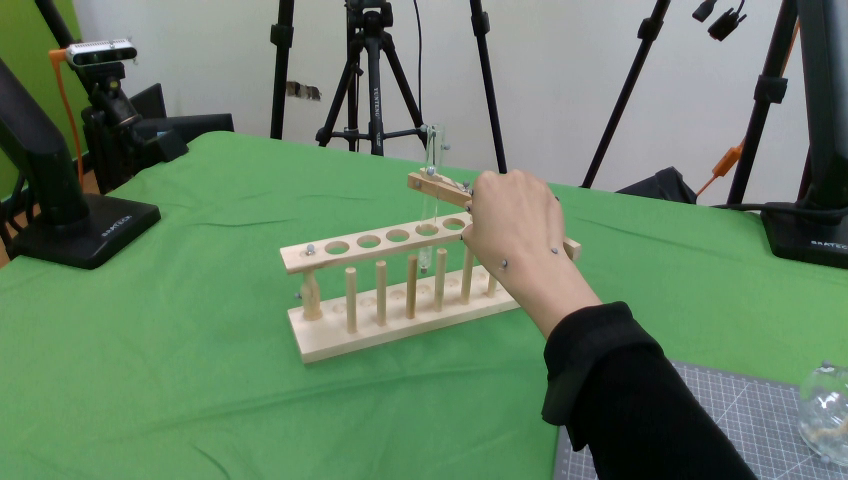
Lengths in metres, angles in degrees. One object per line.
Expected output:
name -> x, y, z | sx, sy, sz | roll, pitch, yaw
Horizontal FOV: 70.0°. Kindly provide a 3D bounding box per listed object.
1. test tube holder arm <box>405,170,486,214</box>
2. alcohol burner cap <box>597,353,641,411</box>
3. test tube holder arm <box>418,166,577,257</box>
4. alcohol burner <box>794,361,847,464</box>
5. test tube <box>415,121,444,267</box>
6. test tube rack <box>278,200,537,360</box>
test tube holder arm -> 0.019, -0.043, 0.534 | 0.087, 0.015, 0.010 | 23, 37, 31
alcohol burner cap -> 0.165, 0.115, 0.504 | 0.034, 0.048, 0.033 | 2, 35, -1
test tube holder arm -> 0.055, -0.028, 0.512 | 0.013, 0.015, 0.176 | -25, 40, -36
alcohol burner -> 0.329, 0.111, 0.453 | 0.078, 0.120, 0.077 | 2, 36, -1
test tube -> 0.004, -0.038, 0.561 | 0.017, 0.151, 0.017 | 4, 33, -2
test tube rack -> -0.008, 0.033, 0.582 | 0.243, 0.086, 0.066 | -12, 36, -19
